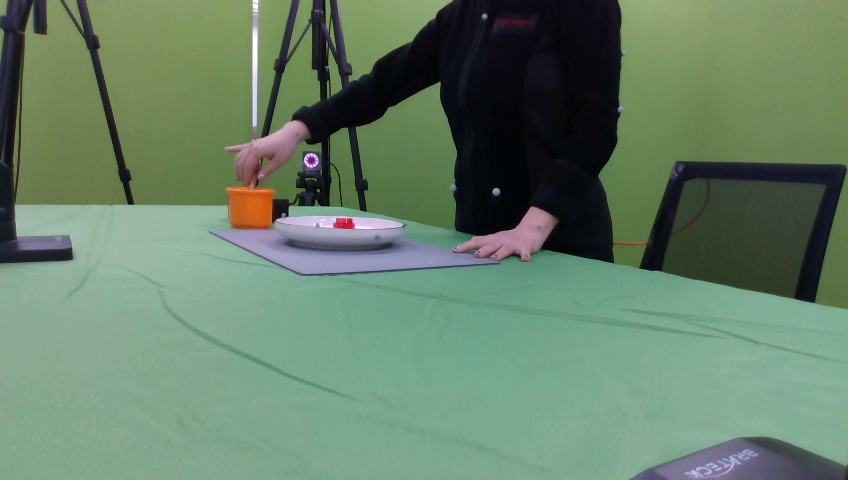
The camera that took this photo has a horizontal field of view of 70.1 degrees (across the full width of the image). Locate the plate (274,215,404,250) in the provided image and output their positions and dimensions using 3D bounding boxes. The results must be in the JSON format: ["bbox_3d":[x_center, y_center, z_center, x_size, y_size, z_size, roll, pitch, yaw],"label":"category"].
[{"bbox_3d":[-0.137,-0.013,0.981,0.209,0.038,0.209,2,7,0],"label":"plate"}]

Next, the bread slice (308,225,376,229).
[{"bbox_3d":[-0.134,-0.011,0.974,0.135,0.018,0.106,-3,8,-33],"label":"bread slice"}]

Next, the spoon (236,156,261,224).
[{"bbox_3d":[-0.339,-0.102,1.197,0.042,0.193,0.021,1,-37,-4],"label":"spoon"}]
